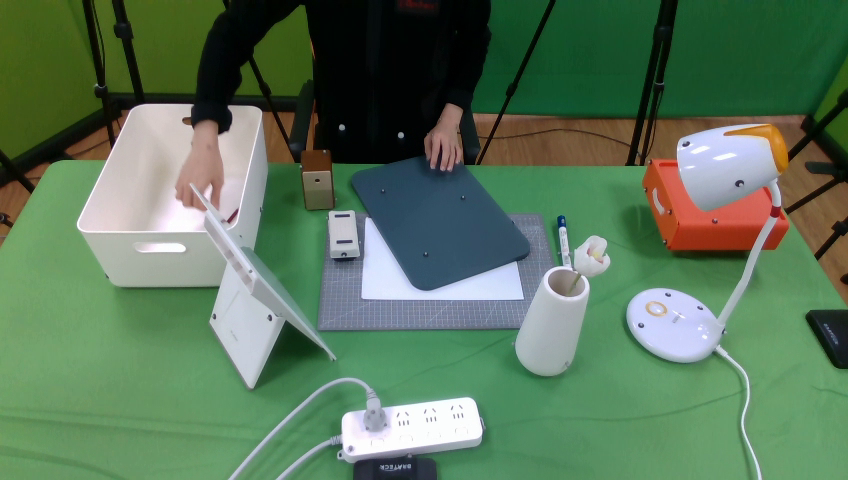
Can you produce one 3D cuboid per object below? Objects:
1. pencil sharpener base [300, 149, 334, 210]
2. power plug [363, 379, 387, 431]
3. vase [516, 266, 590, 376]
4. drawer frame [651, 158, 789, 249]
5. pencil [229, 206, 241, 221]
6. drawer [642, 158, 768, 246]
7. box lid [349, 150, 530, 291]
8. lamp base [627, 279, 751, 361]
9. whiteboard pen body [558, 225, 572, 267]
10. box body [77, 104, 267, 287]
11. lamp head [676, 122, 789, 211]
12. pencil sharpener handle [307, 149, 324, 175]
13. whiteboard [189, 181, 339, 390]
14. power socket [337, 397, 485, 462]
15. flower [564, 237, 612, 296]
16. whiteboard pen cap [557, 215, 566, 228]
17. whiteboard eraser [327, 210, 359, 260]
[{"bbox_3d":[-0.219,-0.125,1.242,0.061,0.107,0.076,-4,46,-8],"label":"pencil sharpener base"},{"bbox_3d":[-0.072,0.252,0.910,0.035,0.053,0.072,3,45,-1],"label":"power plug"},{"bbox_3d":[0.208,0.132,0.964,0.098,0.201,0.097,3,46,-3],"label":"vase"},{"bbox_3d":[0.571,-0.075,1.214,0.214,0.083,0.200,0,46,-1],"label":"drawer frame"},{"bbox_3d":[-0.402,-0.008,1.176,0.012,0.012,0.193,15,44,9],"label":"pencil"},{"bbox_3d":[0.565,-0.076,1.211,0.212,0.073,0.193,2,45,-2],"label":"drawer"},{"bbox_3d":[0.025,-0.056,1.260,0.263,0.015,0.369,-18,49,-20],"label":"box lid"},{"bbox_3d":[0.459,0.100,1.027,0.178,0.181,0.160,27,51,17],"label":"lamp base"},{"bbox_3d":[0.280,0.010,1.207,0.017,0.017,0.140,3,50,-1],"label":"whiteboard pen body"},{"bbox_3d":[-0.446,-0.088,1.150,0.254,0.161,0.361,-1,46,-5],"label":"box body"},{"bbox_3d":[0.423,-0.104,0.819,0.122,0.113,0.112,-13,33,40],"label":"lamp head"},{"bbox_3d":[-0.230,-0.170,1.267,0.036,0.068,0.030,5,44,-17],"label":"pencil sharpener handle"},{"bbox_3d":[-0.292,0.096,0.929,0.144,0.307,0.216,-37,57,-10],"label":"whiteboard"},{"bbox_3d":[-0.018,0.285,0.915,0.227,0.033,0.071,-5,46,-8],"label":"power socket"},{"bbox_3d":[0.206,0.088,0.893,0.038,0.363,0.044,-16,67,-9],"label":"flower"},{"bbox_3d":[0.284,-0.035,1.246,0.018,0.018,0.033,4,52,-1],"label":"whiteboard pen cap"},{"bbox_3d":[-0.158,-0.009,1.177,0.055,0.042,0.112,-6,47,-7],"label":"whiteboard eraser"}]
